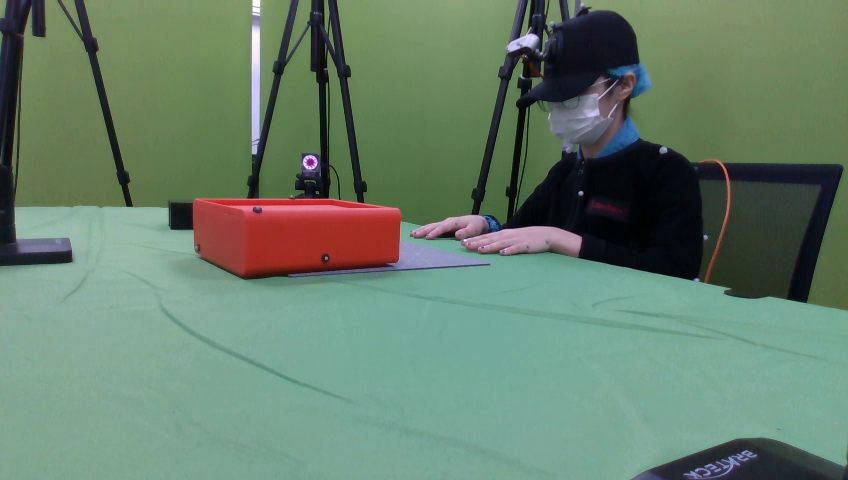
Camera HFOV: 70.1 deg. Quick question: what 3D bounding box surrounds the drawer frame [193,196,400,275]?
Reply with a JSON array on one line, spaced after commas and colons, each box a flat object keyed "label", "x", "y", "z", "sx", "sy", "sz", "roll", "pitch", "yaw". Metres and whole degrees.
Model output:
[{"label": "drawer frame", "x": -0.173, "y": -0.014, "z": 0.815, "sx": 0.215, "sy": 0.082, "sz": 0.200, "roll": -4, "pitch": 10, "yaw": -37}]

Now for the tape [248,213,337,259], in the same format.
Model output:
[{"label": "tape", "x": -0.176, "y": -0.008, "z": 0.814, "sx": 0.117, "sy": 0.052, "sz": 0.117, "roll": 3, "pitch": 6, "yaw": 0}]

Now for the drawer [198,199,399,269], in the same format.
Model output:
[{"label": "drawer", "x": -0.171, "y": -0.014, "z": 0.818, "sx": 0.213, "sy": 0.073, "sz": 0.193, "roll": -4, "pitch": 10, "yaw": -36}]
